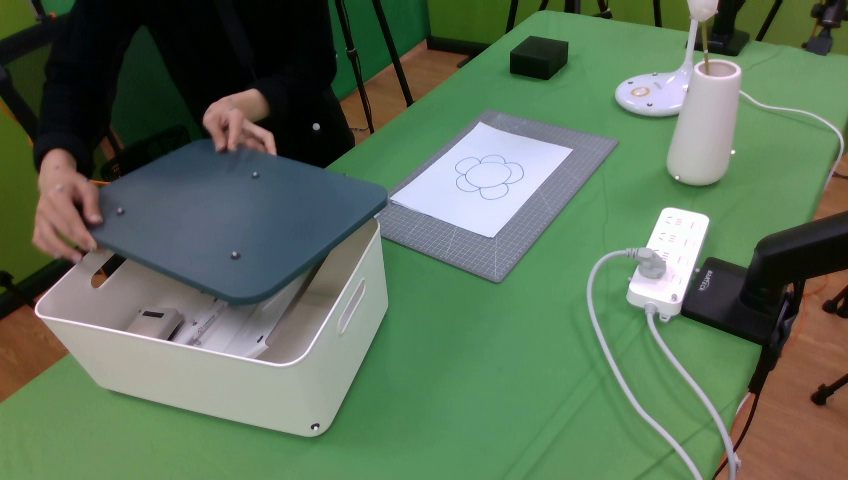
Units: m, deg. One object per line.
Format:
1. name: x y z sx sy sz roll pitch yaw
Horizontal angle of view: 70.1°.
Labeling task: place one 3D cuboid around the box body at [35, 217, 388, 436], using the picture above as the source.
1. box body: -0.251 0.088 0.799 0.362 0.161 0.254 7 42 16

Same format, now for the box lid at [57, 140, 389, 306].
1. box lid: -0.256 -0.042 0.777 0.369 0.015 0.264 17 40 27

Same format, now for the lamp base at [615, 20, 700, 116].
1. lamp base: 0.484 -0.364 1.211 0.180 0.181 0.159 -15 41 -14

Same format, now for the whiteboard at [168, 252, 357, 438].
1. whiteboard: -0.242 0.100 0.799 0.304 0.144 0.217 8 44 15

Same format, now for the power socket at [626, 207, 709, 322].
1. power socket: 0.360 0.026 0.886 0.072 0.033 0.227 17 46 27

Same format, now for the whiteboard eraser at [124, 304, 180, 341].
1. whiteboard eraser: -0.384 0.141 0.826 0.055 0.042 0.112 7 42 4

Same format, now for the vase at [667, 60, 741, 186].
1. vase: 0.463 -0.189 0.994 0.098 0.201 0.097 -4 40 4

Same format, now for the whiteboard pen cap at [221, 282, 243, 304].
1. whiteboard pen cap: -0.278 0.078 0.874 0.018 0.018 0.033 11 47 20

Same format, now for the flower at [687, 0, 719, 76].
1. flower: 0.436 -0.242 0.934 0.038 0.364 0.043 -24 49 8

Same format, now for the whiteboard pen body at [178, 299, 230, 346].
1. whiteboard pen body: -0.300 0.112 0.832 0.017 0.017 0.141 12 42 20

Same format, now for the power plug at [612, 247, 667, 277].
1. power plug: 0.306 0.031 0.852 0.072 0.053 0.035 21 48 38
